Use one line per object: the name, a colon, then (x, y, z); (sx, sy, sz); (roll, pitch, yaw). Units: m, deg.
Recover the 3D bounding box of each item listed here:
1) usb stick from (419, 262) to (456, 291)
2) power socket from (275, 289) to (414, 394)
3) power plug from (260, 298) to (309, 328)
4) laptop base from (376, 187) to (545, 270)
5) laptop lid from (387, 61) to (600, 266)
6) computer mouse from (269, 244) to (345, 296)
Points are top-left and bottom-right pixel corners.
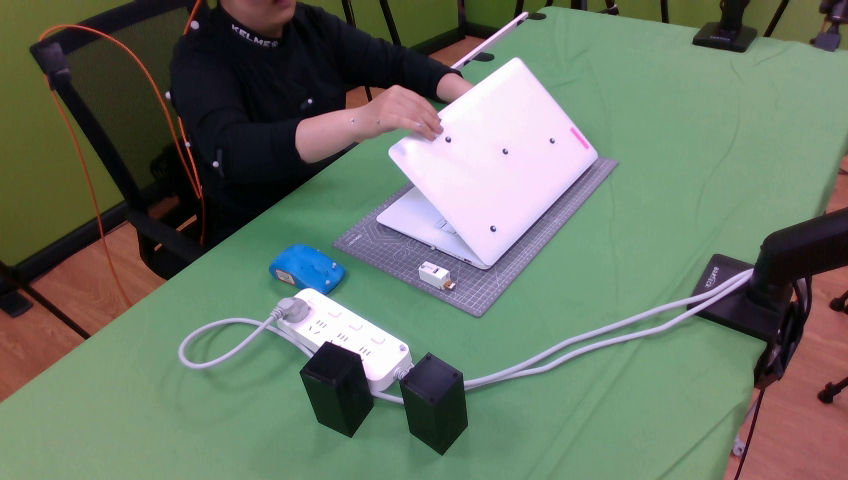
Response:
usb stick: (0.021, 0.056, 0.892); (0.058, 0.027, 0.021); (25, 47, 31)
power socket: (-0.114, 0.133, 0.821); (0.225, 0.033, 0.072); (25, 49, 33)
power plug: (-0.193, 0.107, 0.831); (0.073, 0.053, 0.035); (-32, 43, -24)
laptop base: (0.115, -0.086, 1.056); (0.233, 0.023, 0.355); (21, 48, 34)
laptop lid: (0.130, -0.141, 0.985); (0.241, 0.013, 0.358); (50, 57, 1)
computer mouse: (-0.182, 0.044, 0.933); (0.116, 0.041, 0.063); (23, 47, 25)
